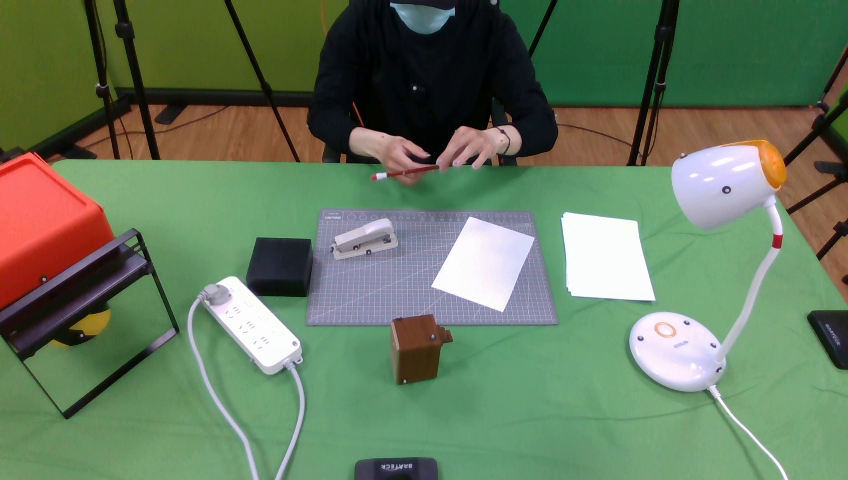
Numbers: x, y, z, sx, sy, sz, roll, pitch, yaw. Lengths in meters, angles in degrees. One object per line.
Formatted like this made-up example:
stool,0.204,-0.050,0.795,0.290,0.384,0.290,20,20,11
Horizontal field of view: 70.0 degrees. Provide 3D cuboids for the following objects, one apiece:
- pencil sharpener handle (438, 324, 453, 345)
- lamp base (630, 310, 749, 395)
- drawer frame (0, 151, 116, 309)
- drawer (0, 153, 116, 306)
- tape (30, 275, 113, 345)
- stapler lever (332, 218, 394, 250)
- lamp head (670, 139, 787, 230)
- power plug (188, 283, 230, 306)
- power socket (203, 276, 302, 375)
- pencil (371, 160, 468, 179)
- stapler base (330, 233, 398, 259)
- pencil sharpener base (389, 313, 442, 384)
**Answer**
pencil sharpener handle,0.036,0.155,0.976,0.031,0.068,0.036,-8,70,-11
lamp base,0.447,0.142,0.984,0.161,0.181,0.178,-24,55,-24
drawer frame,-0.604,-0.013,0.876,0.201,0.083,0.213,31,52,23
drawer,-0.601,-0.015,0.880,0.193,0.073,0.211,32,53,23
tape,-0.594,0.117,1.021,0.117,0.053,0.116,2,45,-2
stapler lever,-0.116,-0.012,1.162,0.118,0.040,0.026,-13,47,-14
lamp head,0.415,-0.079,0.812,0.113,0.123,0.112,13,70,-37
power plug,-0.368,0.099,1.037,0.072,0.053,0.035,-24,52,-26
power socket,-0.297,0.141,1.034,0.072,0.033,0.225,-34,58,-30
pencil,-0.008,-0.139,1.182,0.194,0.012,0.012,-10,48,-8
stapler base,-0.116,0.004,1.181,0.131,0.024,0.041,-13,47,-14
pencil sharpener base,-0.013,0.175,0.971,0.077,0.107,0.061,-8,47,-11
